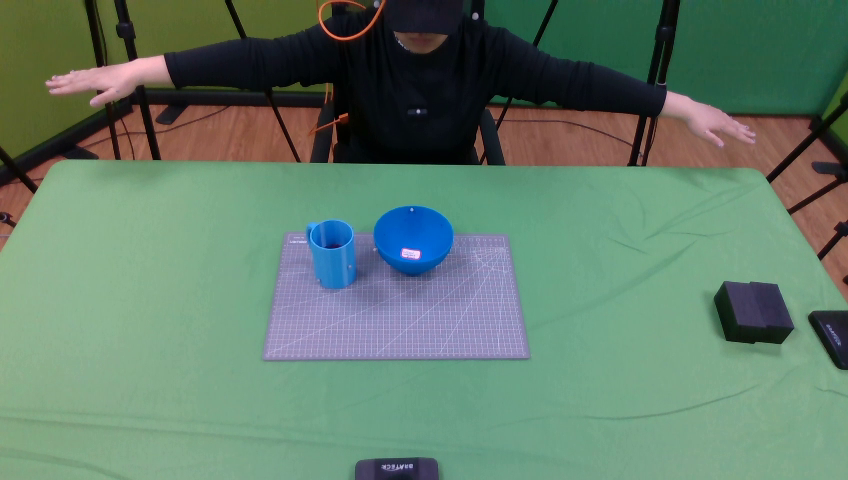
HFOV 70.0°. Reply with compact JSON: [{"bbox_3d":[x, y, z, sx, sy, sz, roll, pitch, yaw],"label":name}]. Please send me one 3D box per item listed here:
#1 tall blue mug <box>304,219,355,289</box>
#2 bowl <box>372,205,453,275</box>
[{"bbox_3d":[-0.180,0.022,1.099,0.107,0.108,0.077,15,48,10],"label":"tall blue mug"},{"bbox_3d":[-0.022,0.013,1.142,0.151,0.077,0.150,2,46,-2],"label":"bowl"}]
